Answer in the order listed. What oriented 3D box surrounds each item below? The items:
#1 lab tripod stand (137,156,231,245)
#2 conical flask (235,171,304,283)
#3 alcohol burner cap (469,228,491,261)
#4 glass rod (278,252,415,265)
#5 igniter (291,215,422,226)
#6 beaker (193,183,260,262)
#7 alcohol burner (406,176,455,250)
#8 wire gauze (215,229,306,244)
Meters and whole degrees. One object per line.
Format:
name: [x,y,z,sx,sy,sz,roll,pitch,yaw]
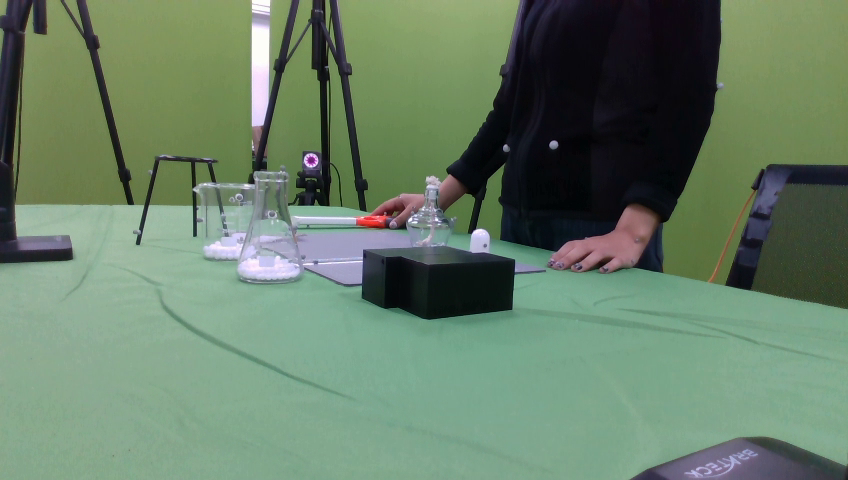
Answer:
lab tripod stand: [-0.358,-0.061,0.927,0.148,0.131,0.148,4,6,0]
conical flask: [-0.172,-0.016,0.677,0.075,0.122,0.075,2,7,0]
alcohol burner cap: [0.082,0.006,0.878,0.034,0.048,0.034,2,7,0]
glass rod: [-0.097,0.024,0.805,0.201,0.008,0.008,-3,8,-33]
igniter: [-0.133,-0.040,1.248,0.278,0.025,0.057,-1,7,-28]
beaker: [-0.262,-0.025,0.806,0.084,0.100,0.073,-3,9,-30]
alcohol burner: [0.011,-0.044,0.963,0.078,0.119,0.078,4,6,0]
wire gauze: [-0.273,-0.009,1.013,0.122,0.011,0.124,-2,9,-33]
